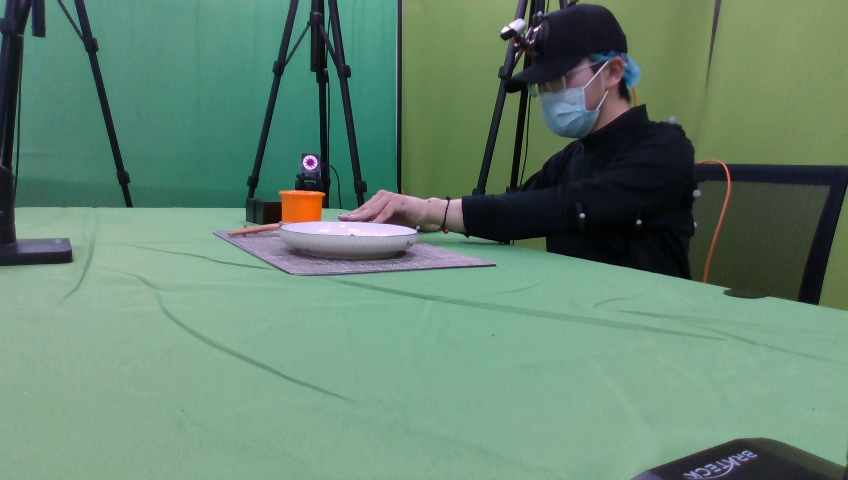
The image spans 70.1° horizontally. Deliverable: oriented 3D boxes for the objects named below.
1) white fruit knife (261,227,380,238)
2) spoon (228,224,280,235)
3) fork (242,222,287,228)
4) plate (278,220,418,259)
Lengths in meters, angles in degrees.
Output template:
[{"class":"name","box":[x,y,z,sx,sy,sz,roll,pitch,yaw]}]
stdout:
[{"class":"white fruit knife","box":[-0.183,-0.015,1.070,0.208,0.016,0.027,2,9,-6]},{"class":"spoon","box":[-0.250,-0.021,1.074,0.195,0.021,0.041,-1,17,-33]},{"class":"fork","box":[-0.241,-0.025,1.125,0.208,0.018,0.028,0,14,-35]},{"class":"plate","box":[-0.114,-0.002,0.914,0.209,0.038,0.209,2,7,0]}]
